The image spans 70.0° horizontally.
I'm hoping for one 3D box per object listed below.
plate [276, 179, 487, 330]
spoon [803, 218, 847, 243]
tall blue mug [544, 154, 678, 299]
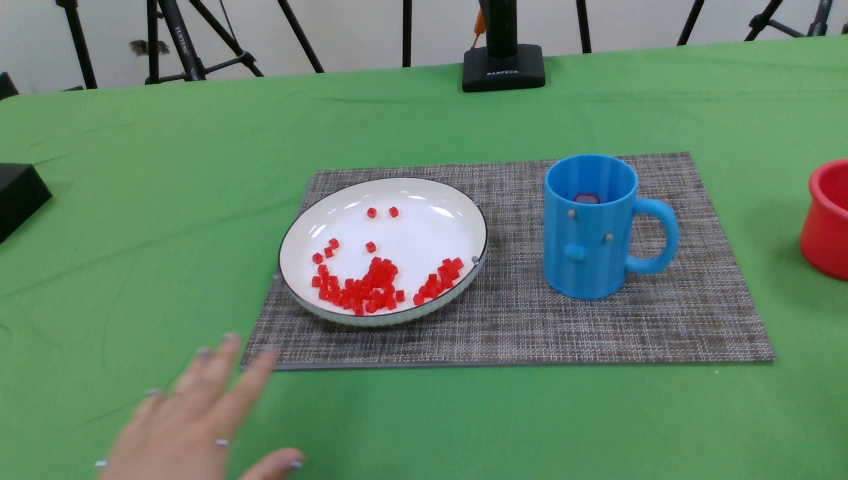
[{"bbox_3d":[-0.039,0.013,0.602,0.207,0.039,0.205,-5,40,4],"label":"plate"},{"bbox_3d":[0.412,-0.029,0.496,0.041,0.193,0.021,-35,93,-33],"label":"spoon"},{"bbox_3d":[0.161,-0.012,0.541,0.107,0.109,0.077,-6,40,3],"label":"tall blue mug"}]
